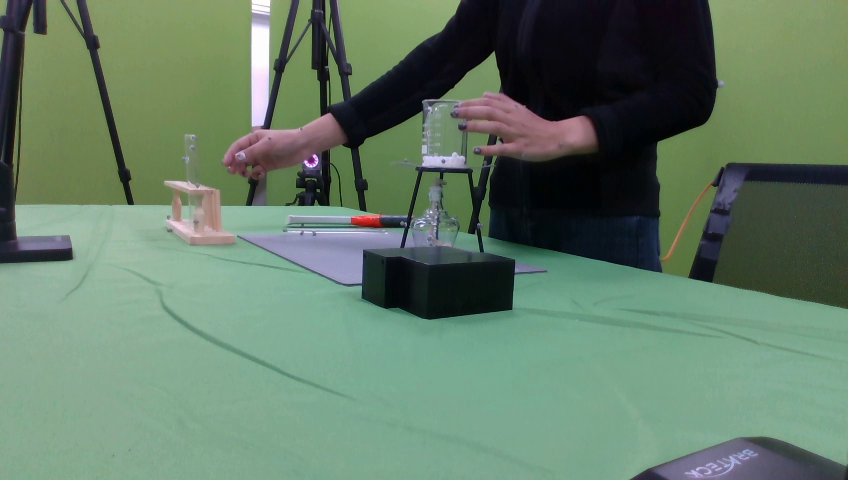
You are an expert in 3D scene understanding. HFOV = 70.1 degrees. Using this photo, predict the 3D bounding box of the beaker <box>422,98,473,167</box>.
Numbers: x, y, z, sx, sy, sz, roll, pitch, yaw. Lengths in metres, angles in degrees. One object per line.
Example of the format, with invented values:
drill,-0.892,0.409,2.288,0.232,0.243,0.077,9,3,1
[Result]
beaker,0.031,-0.162,0.919,0.074,0.100,0.083,-4,10,-36

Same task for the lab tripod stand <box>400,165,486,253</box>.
lab tripod stand,0.028,-0.049,0.930,0.148,0.131,0.148,3,9,0

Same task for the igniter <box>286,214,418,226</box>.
igniter,-0.145,-0.043,1.263,0.278,0.025,0.057,-1,-2,-24

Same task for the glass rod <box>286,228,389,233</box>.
glass rod,-0.153,-0.016,1.101,0.201,0.008,0.008,1,7,-31

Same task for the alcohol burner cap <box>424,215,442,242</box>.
alcohol burner cap,0.017,-0.022,1.098,0.034,0.048,0.034,2,8,0

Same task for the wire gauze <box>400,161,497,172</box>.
wire gauze,0.028,-0.114,0.920,0.122,0.011,0.124,-5,12,-34

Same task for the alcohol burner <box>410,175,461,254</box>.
alcohol burner,0.018,-0.040,0.931,0.078,0.119,0.078,1,7,0

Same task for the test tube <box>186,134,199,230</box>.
test tube,-0.360,-0.089,0.946,0.017,0.150,0.017,0,10,0

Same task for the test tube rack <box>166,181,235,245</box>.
test tube rack,-0.383,-0.051,1.024,0.067,0.085,0.241,-2,9,-31
